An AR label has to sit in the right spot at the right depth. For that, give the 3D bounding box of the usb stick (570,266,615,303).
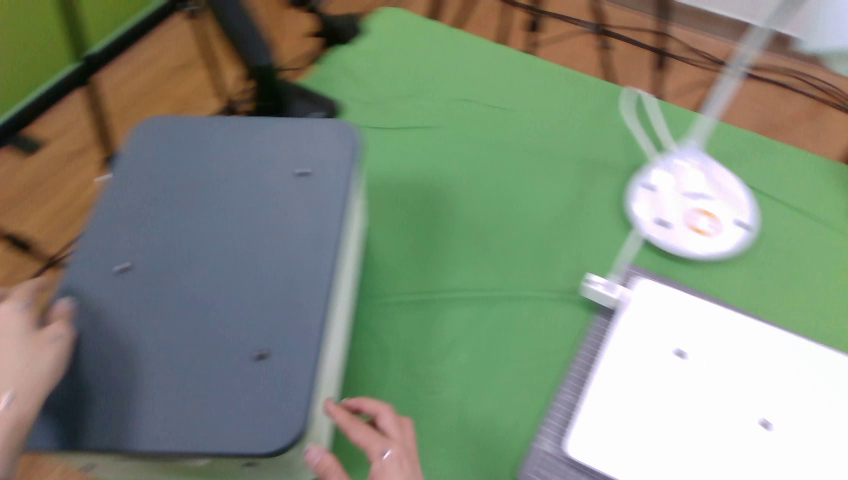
[{"bbox_3d":[0.203,0.055,0.707,0.059,0.027,0.021,27,56,15],"label":"usb stick"}]

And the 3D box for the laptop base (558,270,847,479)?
[{"bbox_3d":[0.342,0.187,0.631,0.352,0.023,0.234,22,63,15],"label":"laptop base"}]

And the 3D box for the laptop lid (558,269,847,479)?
[{"bbox_3d":[0.341,0.183,0.620,0.355,0.013,0.240,23,62,16],"label":"laptop lid"}]

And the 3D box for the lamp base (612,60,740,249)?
[{"bbox_3d":[0.321,-0.109,0.732,0.161,0.182,0.177,-10,54,-5],"label":"lamp base"}]

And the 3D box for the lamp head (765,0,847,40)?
[{"bbox_3d":[0.329,-0.218,0.468,0.112,0.112,0.123,-3,100,0],"label":"lamp head"}]

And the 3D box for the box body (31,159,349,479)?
[{"bbox_3d":[-0.222,0.059,0.646,0.254,0.162,0.360,0,56,1],"label":"box body"}]

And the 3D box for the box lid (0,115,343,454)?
[{"bbox_3d":[-0.223,0.015,0.584,0.263,0.015,0.368,1,57,1],"label":"box lid"}]
